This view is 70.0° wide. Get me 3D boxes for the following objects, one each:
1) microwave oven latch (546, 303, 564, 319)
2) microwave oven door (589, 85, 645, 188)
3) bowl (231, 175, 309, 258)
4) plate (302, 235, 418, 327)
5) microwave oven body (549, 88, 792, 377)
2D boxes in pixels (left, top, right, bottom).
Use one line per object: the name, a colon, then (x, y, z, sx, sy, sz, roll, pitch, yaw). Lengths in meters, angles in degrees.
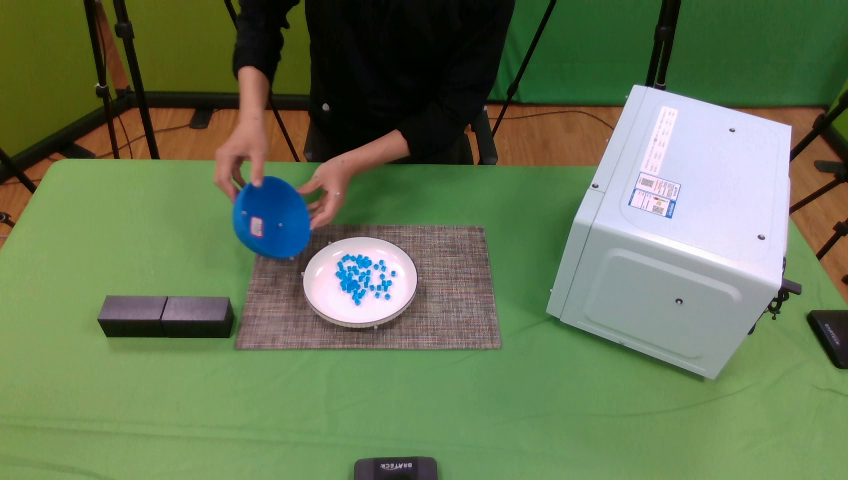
microwave oven latch: (0.242, 0.102, 1.081, 0.030, 0.029, 0.079, 21, 48, 17)
microwave oven door: (0.342, -0.107, 1.149, 0.039, 0.245, 0.354, 20, 48, 15)
bowl: (-0.288, -0.032, 1.081, 0.077, 0.152, 0.150, -19, 34, 36)
plate: (-0.114, 0.077, 1.098, 0.208, 0.039, 0.206, 2, 46, -2)
microwave oven body: (0.456, -0.028, 1.088, 0.325, 0.261, 0.440, 20, 47, 16)
